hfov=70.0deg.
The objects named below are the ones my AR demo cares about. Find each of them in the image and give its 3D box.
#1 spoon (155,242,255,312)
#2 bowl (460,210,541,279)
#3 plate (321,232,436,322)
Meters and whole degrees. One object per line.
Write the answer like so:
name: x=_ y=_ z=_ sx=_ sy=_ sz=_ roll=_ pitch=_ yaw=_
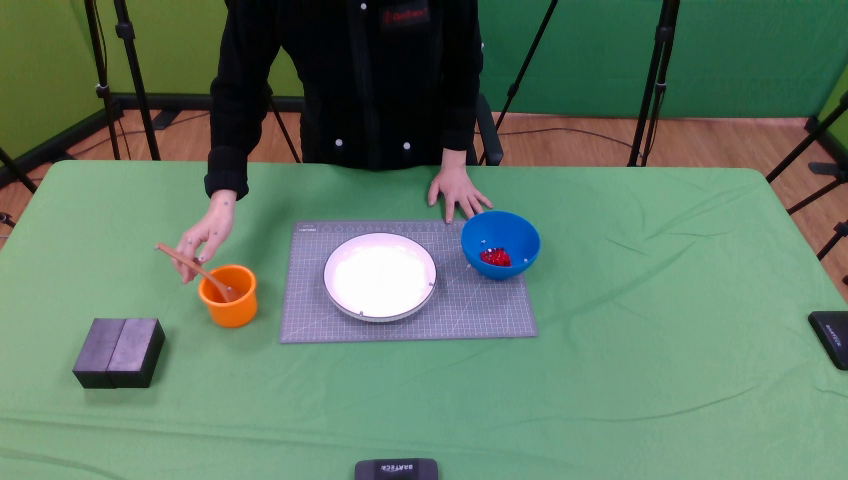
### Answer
spoon: x=-0.366 y=0.061 z=1.021 sx=0.021 sy=0.195 sz=0.041 roll=-26 pitch=33 yaw=32
bowl: x=0.140 y=0.021 z=1.145 sx=0.151 sy=0.077 sz=0.150 roll=2 pitch=46 yaw=-2
plate: x=-0.083 y=0.070 z=1.109 sx=0.209 sy=0.038 sz=0.208 roll=3 pitch=46 yaw=-3
